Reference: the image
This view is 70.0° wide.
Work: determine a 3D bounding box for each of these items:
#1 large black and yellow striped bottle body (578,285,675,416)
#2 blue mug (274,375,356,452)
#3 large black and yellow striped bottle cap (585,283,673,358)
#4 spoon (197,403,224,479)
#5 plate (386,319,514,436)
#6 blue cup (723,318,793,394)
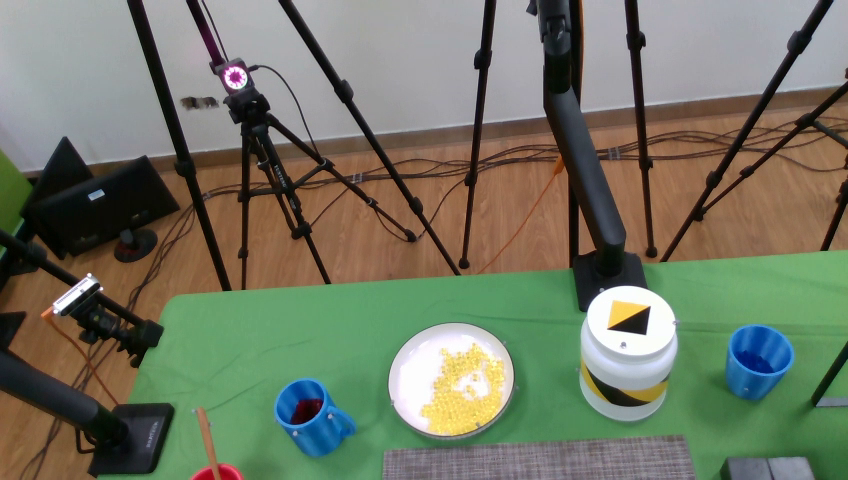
[{"bbox_3d":[0.295,0.163,0.893,0.130,0.186,0.129,-6,49,7],"label":"large black and yellow striped bottle body"},{"bbox_3d":[-0.162,0.275,0.945,0.116,0.107,0.082,5,51,16],"label":"blue mug"},{"bbox_3d":[0.280,0.108,0.830,0.115,0.019,0.114,-6,47,7],"label":"large black and yellow striped bottle cap"},{"bbox_3d":[-0.306,0.335,0.896,0.041,0.021,0.194,-14,93,-3],"label":"spoon"},{"bbox_3d":[0.042,0.225,0.991,0.209,0.038,0.207,-6,49,7],"label":"plate"},{"bbox_3d":[0.484,0.179,0.894,0.092,0.101,0.091,-7,49,9],"label":"blue cup"}]
